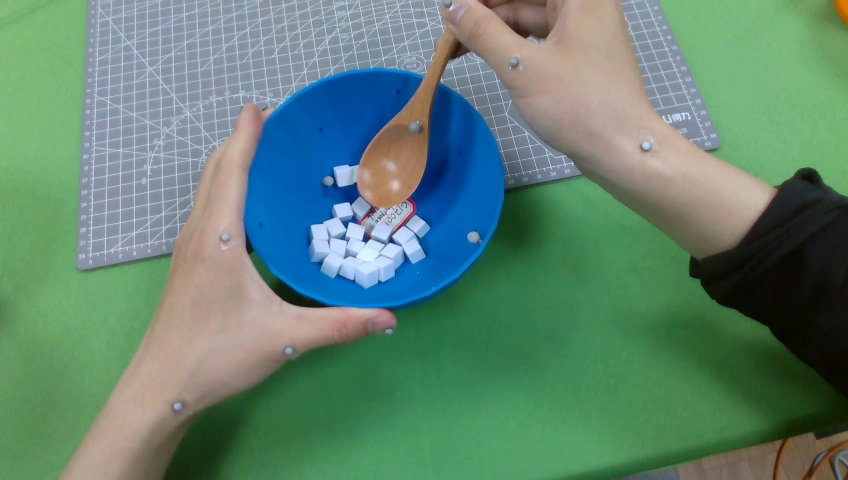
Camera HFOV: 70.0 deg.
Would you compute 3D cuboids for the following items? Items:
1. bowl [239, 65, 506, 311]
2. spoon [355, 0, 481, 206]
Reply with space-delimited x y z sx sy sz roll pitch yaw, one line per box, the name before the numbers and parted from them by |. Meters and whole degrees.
bowl | -0.028 -0.022 0.375 0.151 0.077 0.150 -1 71 2
spoon | 0.011 -0.101 0.334 0.041 0.194 0.021 37 29 13
